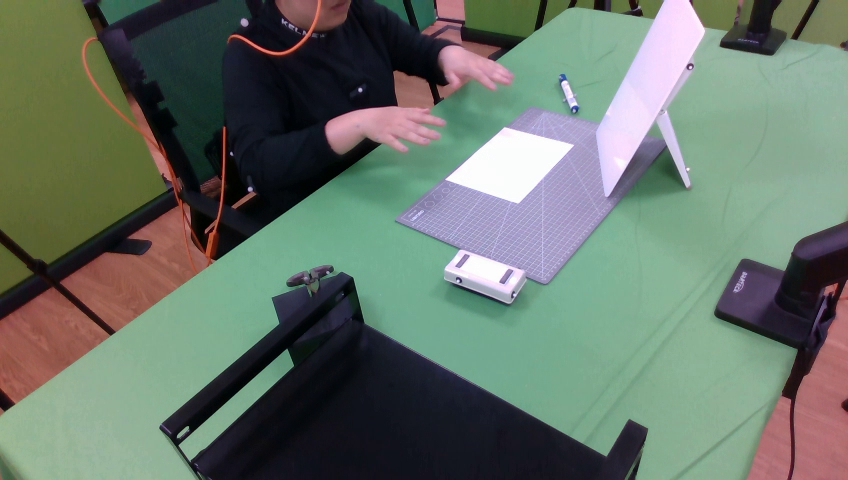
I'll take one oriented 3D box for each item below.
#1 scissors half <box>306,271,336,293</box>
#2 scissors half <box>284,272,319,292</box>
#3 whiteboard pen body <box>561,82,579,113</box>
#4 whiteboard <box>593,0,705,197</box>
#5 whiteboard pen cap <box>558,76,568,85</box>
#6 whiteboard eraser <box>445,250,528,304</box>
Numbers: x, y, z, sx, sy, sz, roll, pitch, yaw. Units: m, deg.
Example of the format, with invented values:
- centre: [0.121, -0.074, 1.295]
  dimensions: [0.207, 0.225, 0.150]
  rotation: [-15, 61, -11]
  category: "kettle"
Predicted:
- centre: [-0.152, 0.061, 0.872]
  dimensions: [0.040, 0.013, 0.175]
  rotation: [-4, 6, -4]
  category: "scissors half"
- centre: [-0.172, 0.063, 0.868]
  dimensions: [0.040, 0.013, 0.174]
  rotation: [-11, 7, -21]
  category: "scissors half"
- centre: [0.310, -0.311, 1.297]
  dimensions: [0.017, 0.017, 0.140]
  rotation: [-6, 41, 2]
  category: "whiteboard pen body"
- centre: [0.421, -0.227, 1.009]
  dimensions: [0.144, 0.305, 0.216]
  rotation: [17, 41, -3]
  category: "whiteboard"
- centre: [0.309, -0.350, 1.340]
  dimensions: [0.018, 0.018, 0.033]
  rotation: [-6, 41, 2]
  category: "whiteboard pen cap"
- centre: [0.090, 0.056, 0.882]
  dimensions: [0.112, 0.042, 0.056]
  rotation: [18, 44, 27]
  category: "whiteboard eraser"
